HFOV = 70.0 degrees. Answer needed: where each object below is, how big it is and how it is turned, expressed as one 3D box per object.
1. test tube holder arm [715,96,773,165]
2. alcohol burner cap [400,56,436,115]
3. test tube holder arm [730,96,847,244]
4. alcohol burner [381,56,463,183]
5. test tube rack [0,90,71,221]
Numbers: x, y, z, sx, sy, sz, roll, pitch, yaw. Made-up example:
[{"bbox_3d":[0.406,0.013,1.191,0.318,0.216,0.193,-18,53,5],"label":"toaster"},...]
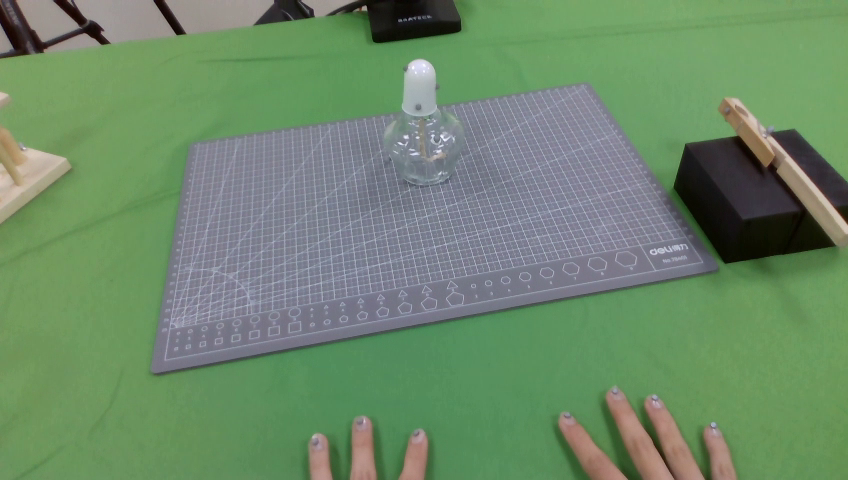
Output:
[{"bbox_3d":[0.277,-0.096,0.521,0.010,0.015,0.087,-3,46,-9],"label":"test tube holder arm"},{"bbox_3d":[-0.005,-0.138,0.535,0.034,0.048,0.033,1,45,-1],"label":"alcohol burner cap"},{"bbox_3d":[0.289,-0.064,0.491,0.013,0.015,0.176,-3,46,-9],"label":"test tube holder arm"},{"bbox_3d":[-0.003,-0.113,0.561,0.078,0.120,0.077,-3,44,3],"label":"alcohol burner"},{"bbox_3d":[-0.456,-0.036,0.549,0.066,0.086,0.241,16,49,19],"label":"test tube rack"}]
